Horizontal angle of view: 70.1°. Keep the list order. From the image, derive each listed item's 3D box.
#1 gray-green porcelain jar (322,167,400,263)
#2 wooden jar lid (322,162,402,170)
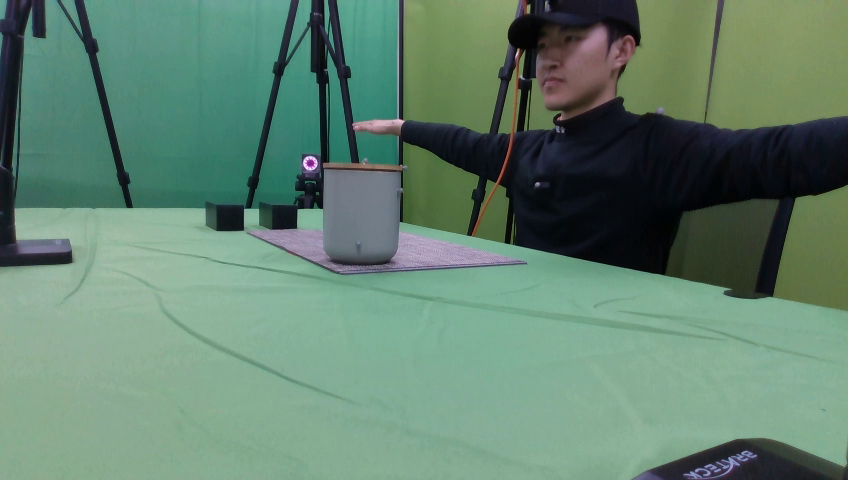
[{"bbox_3d":[-0.087,-0.035,0.833,0.106,0.126,0.106,2,7,0],"label":"gray-green porcelain jar"},{"bbox_3d":[-0.084,-0.095,0.825,0.108,0.020,0.108,2,4,0],"label":"wooden jar lid"}]
